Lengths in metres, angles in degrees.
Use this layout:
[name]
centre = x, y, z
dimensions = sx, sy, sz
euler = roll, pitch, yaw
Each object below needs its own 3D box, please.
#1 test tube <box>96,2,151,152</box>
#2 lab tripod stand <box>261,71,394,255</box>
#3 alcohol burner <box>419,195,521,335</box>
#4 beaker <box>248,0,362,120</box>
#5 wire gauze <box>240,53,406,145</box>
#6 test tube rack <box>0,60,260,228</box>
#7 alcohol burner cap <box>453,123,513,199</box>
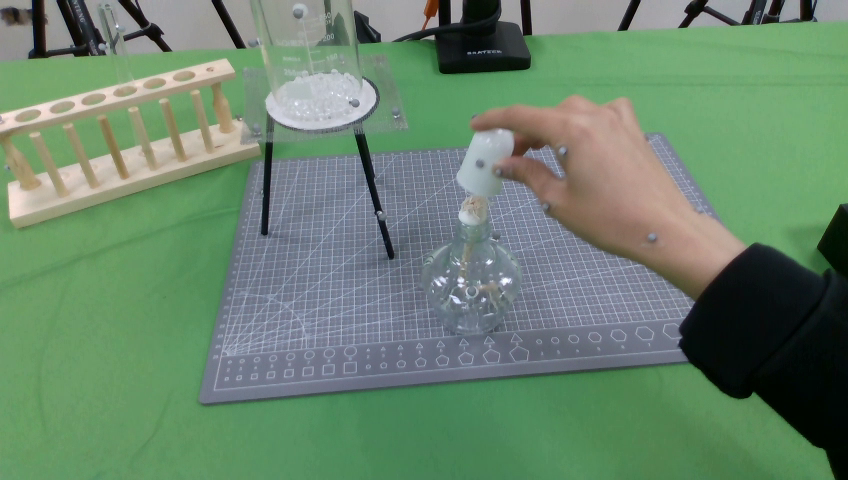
[test tube]
centre = -0.293, -0.155, 0.595
dimensions = 0.017, 0.151, 0.017
euler = 2, 37, -1
[lab tripod stand]
centre = -0.082, -0.066, 0.528
dimensions = 0.148, 0.133, 0.147
euler = -1, 45, 2
[alcohol burner]
centre = 0.035, 0.015, 0.453
dimensions = 0.078, 0.120, 0.077
euler = -1, 41, 1
[beaker]
centre = -0.088, -0.147, 0.447
dimensions = 0.084, 0.101, 0.073
euler = -3, 43, 1
[wire gauze]
centre = -0.084, -0.113, 0.483
dimensions = 0.125, 0.011, 0.120
euler = -10, 42, -4
[test tube rack]
centre = -0.301, -0.101, 0.612
dimensions = 0.243, 0.086, 0.066
euler = -21, 47, -20
[alcohol burner cap]
centre = 0.041, -0.055, 0.400
dimensions = 0.034, 0.048, 0.033
euler = 11, 38, -9
